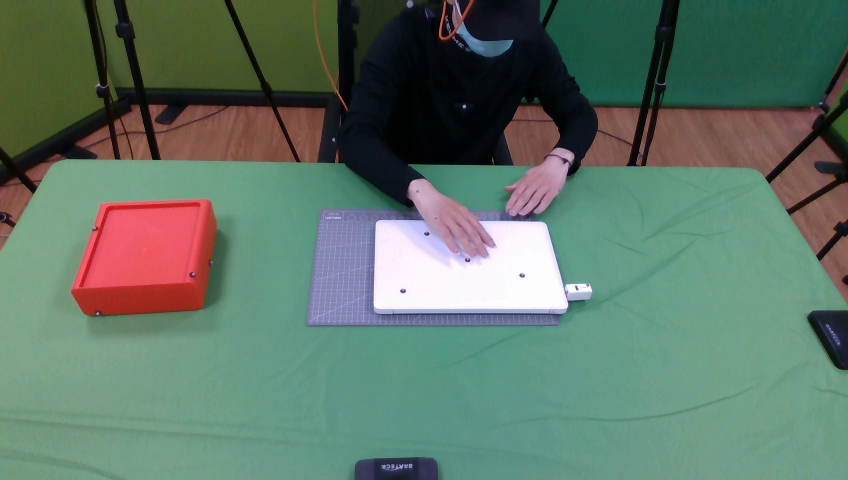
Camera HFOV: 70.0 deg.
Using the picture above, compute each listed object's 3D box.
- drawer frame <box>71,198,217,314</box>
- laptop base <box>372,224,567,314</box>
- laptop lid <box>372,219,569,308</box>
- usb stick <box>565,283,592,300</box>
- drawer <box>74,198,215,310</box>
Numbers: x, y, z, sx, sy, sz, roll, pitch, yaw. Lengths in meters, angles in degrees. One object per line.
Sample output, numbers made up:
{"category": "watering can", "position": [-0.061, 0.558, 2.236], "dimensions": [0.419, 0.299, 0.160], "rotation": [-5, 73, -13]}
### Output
{"category": "drawer frame", "position": [-0.493, 0.023, 1.096], "dimensions": [0.202, 0.083, 0.212], "rotation": [-3, 47, -8]}
{"category": "laptop base", "position": [0.080, 0.049, 1.158], "dimensions": [0.355, 0.023, 0.234], "rotation": [0, 43, -4]}
{"category": "laptop lid", "position": [0.081, 0.040, 1.152], "dimensions": [0.357, 0.013, 0.240], "rotation": [2, 44, -3]}
{"category": "usb stick", "position": [0.275, 0.094, 1.112], "dimensions": [0.059, 0.027, 0.021], "rotation": [-5, 46, -3]}
{"category": "drawer", "position": [-0.494, 0.022, 1.097], "dimensions": [0.195, 0.073, 0.210], "rotation": [-2, 47, -8]}
